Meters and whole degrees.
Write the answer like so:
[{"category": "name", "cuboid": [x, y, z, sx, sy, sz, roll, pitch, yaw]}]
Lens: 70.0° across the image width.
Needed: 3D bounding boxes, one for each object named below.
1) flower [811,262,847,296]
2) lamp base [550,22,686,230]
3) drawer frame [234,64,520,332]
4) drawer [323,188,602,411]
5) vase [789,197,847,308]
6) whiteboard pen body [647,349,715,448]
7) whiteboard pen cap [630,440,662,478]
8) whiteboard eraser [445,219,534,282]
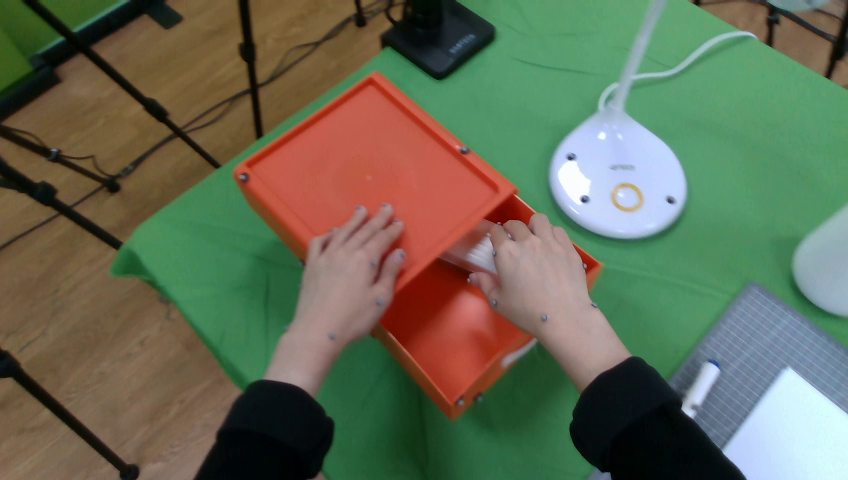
[{"category": "flower", "cuboid": [0.458, -0.058, 0.517, 0.038, 0.364, 0.044, 28, 48, 8]}, {"category": "lamp base", "cuboid": [0.226, -0.129, 0.664, 0.161, 0.182, 0.177, -10, 59, -4]}, {"category": "drawer frame", "cuboid": [-0.048, -0.049, 0.631, 0.201, 0.083, 0.212, -40, 71, -17]}, {"category": "drawer", "cuboid": [0.027, 0.023, 0.594, 0.194, 0.074, 0.210, -39, 67, -17]}, {"category": "vase", "cuboid": [0.443, -0.011, 0.586, 0.098, 0.201, 0.097, -1, 60, 2]}, {"category": "whiteboard pen body", "cuboid": [0.247, 0.164, 0.592, 0.017, 0.017, 0.140, 34, 70, 18]}, {"category": "whiteboard pen cap", "cuboid": [0.211, 0.207, 0.572, 0.018, 0.018, 0.033, 34, 69, 18]}, {"category": "whiteboard eraser", "cuboid": [0.057, 0.008, 0.640, 0.112, 0.042, 0.055, 12, 67, 40]}]
